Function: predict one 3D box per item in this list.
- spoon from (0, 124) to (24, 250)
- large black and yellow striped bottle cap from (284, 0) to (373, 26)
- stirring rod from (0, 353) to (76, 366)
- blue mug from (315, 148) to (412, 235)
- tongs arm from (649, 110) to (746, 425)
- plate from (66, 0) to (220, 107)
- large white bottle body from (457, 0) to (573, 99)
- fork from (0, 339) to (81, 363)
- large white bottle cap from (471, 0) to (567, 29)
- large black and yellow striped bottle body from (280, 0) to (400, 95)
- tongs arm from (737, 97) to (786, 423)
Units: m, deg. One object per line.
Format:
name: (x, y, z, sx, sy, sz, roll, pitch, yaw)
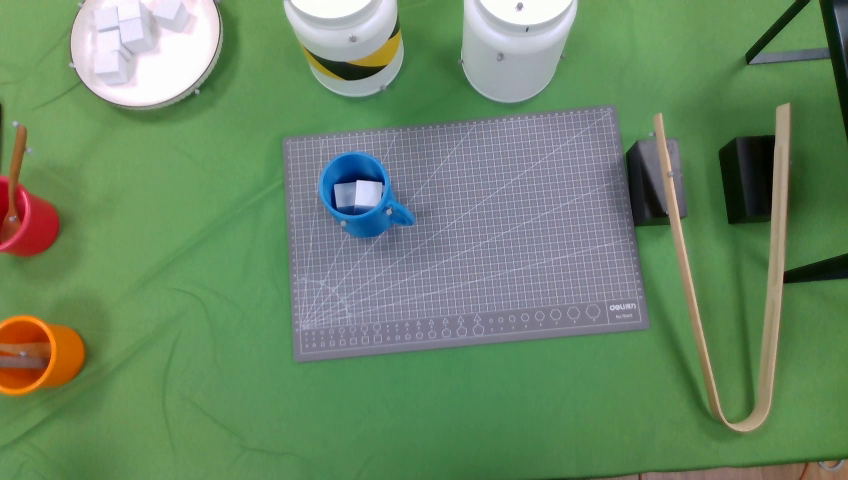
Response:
spoon: (-0.504, -0.061, 0.742, 0.041, 0.021, 0.194, 40, 127, 11)
large black and yellow striped bottle cap: (-0.104, -0.293, 0.667, 0.115, 0.019, 0.114, 0, 81, 0)
stirring rod: (-0.506, 0.139, 0.706, 0.177, 0.006, 0.014, 11, 64, -38)
blue mug: (-0.068, -0.050, 0.745, 0.116, 0.106, 0.082, 24, 81, 6)
tongs arm: (0.326, 0.033, 0.723, 0.051, 0.026, 0.384, -10, 92, -3)
plate: (-0.379, -0.277, 0.830, 0.207, 0.039, 0.207, 0, 80, 2)
large white bottle body: (0.107, -0.268, 0.741, 0.130, 0.185, 0.130, 0, 80, 2)
fork: (-0.516, 0.120, 0.707, 0.209, 0.018, 0.028, 20, 77, -39)
large white bottle cap: (0.104, -0.285, 0.658, 0.115, 0.018, 0.114, 0, 79, 1)
large black and yellow striped bottle body: (-0.101, -0.275, 0.748, 0.131, 0.184, 0.130, 0, 79, 2)
tongs arm: (0.408, 0.025, 0.724, 0.028, 0.027, 0.387, 3, 91, -6)
